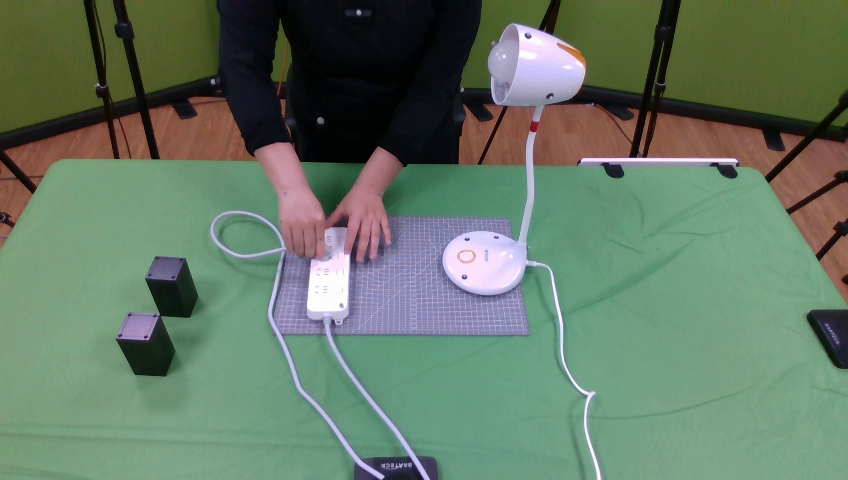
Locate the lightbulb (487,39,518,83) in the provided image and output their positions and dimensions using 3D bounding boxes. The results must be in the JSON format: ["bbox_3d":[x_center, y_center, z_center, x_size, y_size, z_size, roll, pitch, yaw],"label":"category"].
[{"bbox_3d":[0.143,-0.251,0.865,0.108,0.060,0.059,9,45,-7],"label":"lightbulb"}]

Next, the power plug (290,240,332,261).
[{"bbox_3d":[-0.206,0.020,1.124,0.072,0.053,0.035,9,46,7],"label":"power plug"}]

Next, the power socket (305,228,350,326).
[{"bbox_3d":[-0.176,0.058,1.116,0.072,0.033,0.225,-1,46,-4],"label":"power socket"}]

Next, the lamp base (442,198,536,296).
[{"bbox_3d":[0.130,-0.012,1.104,0.179,0.181,0.159,-1,46,-9],"label":"lamp base"}]

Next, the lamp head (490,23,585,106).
[{"bbox_3d":[0.166,-0.241,0.872,0.123,0.113,0.111,9,43,-17],"label":"lamp head"}]
